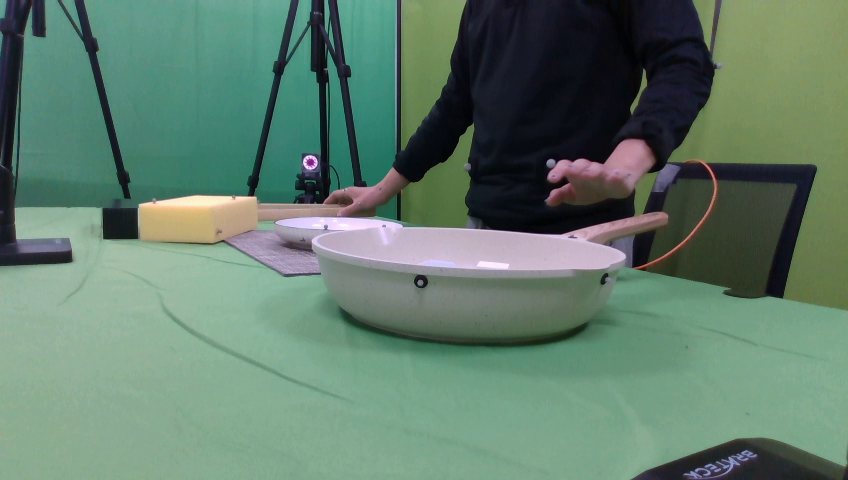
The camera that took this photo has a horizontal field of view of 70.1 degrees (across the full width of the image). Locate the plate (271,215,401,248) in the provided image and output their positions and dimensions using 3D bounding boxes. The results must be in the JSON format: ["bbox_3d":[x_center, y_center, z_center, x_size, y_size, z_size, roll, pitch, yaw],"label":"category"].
[{"bbox_3d":[-0.141,-0.012,0.978,0.208,0.039,0.207,3,7,0],"label":"plate"}]

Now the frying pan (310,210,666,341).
[{"bbox_3d":[0.120,0.011,0.643,0.490,0.102,0.305,-13,16,-36],"label":"frying pan"}]

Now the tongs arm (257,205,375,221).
[{"bbox_3d":[-0.276,-0.060,1.345,0.390,0.028,0.028,-4,6,-32],"label":"tongs arm"}]

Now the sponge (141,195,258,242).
[{"bbox_3d":[-0.380,-0.040,1.047,0.118,0.061,0.207,1,8,3],"label":"sponge"}]

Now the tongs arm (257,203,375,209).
[{"bbox_3d":[-0.307,-0.073,1.414,0.386,0.026,0.050,-1,8,-20],"label":"tongs arm"}]
